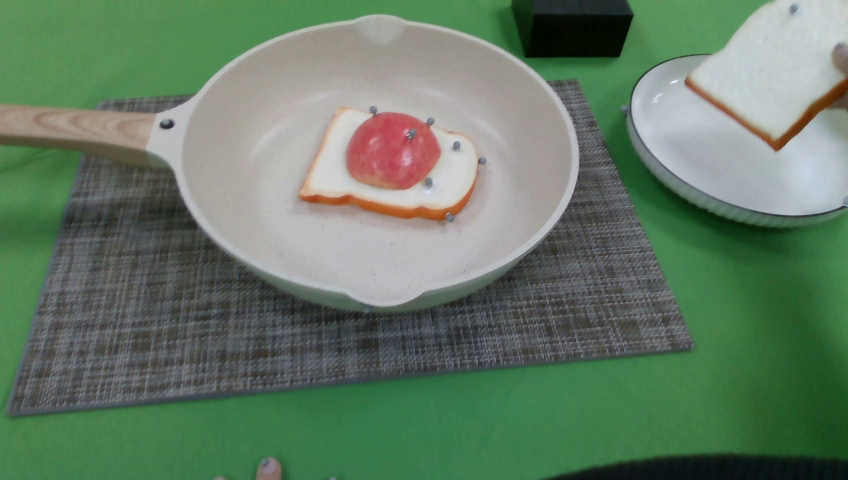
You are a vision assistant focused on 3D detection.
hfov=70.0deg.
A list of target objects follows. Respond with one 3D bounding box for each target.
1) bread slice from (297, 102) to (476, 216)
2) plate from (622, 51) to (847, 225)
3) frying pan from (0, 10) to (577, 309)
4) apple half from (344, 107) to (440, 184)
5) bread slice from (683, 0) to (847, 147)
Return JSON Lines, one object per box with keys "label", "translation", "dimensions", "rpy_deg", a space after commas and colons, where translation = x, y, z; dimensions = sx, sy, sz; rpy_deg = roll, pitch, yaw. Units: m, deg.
{"label": "bread slice", "translation": [-0.025, -0.066, 0.500], "dimensions": [0.134, 0.018, 0.106], "rpy_deg": [9, 53, 3]}
{"label": "plate", "translation": [0.276, -0.090, 0.536], "dimensions": [0.208, 0.039, 0.205], "rpy_deg": [2, 53, -2]}
{"label": "frying pan", "translation": [-0.136, -0.074, 0.451], "dimensions": [0.489, 0.103, 0.303], "rpy_deg": [5, 51, -10]}
{"label": "apple half", "translation": [-0.027, -0.081, 0.482], "dimensions": [0.081, 0.033, 0.080], "rpy_deg": [1, 50, -1]}
{"label": "bread slice", "translation": [0.288, -0.152, 0.479], "dimensions": [0.131, 0.019, 0.103], "rpy_deg": [-46, 52, 15]}
